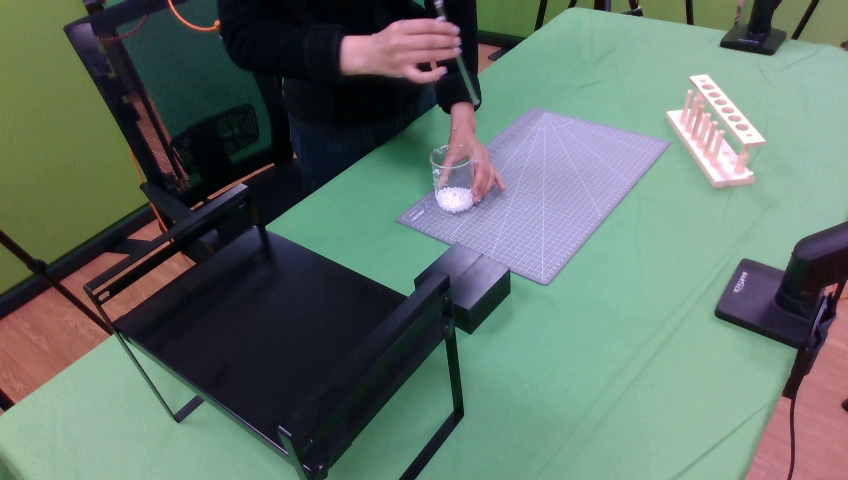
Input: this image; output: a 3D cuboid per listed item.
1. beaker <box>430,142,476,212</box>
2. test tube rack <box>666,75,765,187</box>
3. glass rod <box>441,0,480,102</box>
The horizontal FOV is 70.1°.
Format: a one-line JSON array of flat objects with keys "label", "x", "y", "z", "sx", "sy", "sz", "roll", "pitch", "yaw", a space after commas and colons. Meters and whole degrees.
[{"label": "beaker", "x": 0.050, "y": -0.106, "z": 1.026, "sx": 0.074, "sy": 0.101, "sz": 0.083, "roll": -27, "pitch": 44, "yaw": -21}, {"label": "test tube rack", "x": 0.512, "y": -0.201, "z": 1.082, "sx": 0.067, "sy": 0.085, "sz": 0.241, "roll": -6, "pitch": 41, "yaw": 2}, {"label": "glass rod", "x": 0.053, "y": -0.284, "z": 0.887, "sx": 0.008, "sy": 0.201, "sz": 0.008, "roll": -14, "pitch": 44, "yaw": 15}]
